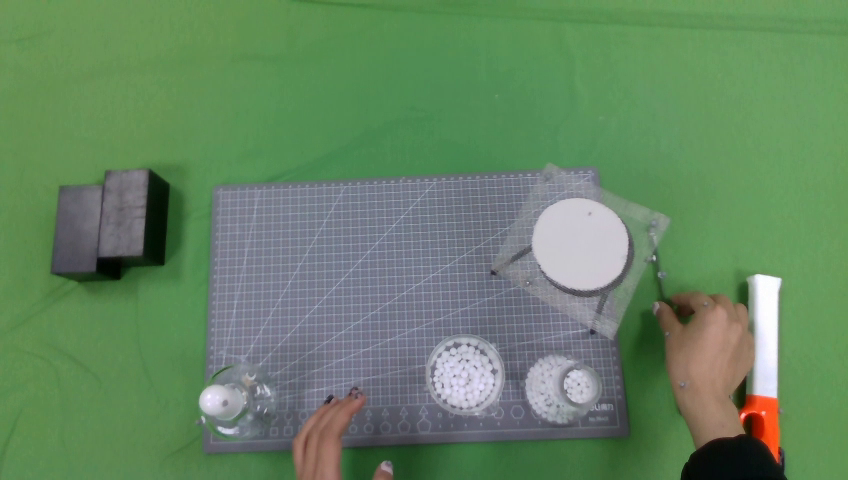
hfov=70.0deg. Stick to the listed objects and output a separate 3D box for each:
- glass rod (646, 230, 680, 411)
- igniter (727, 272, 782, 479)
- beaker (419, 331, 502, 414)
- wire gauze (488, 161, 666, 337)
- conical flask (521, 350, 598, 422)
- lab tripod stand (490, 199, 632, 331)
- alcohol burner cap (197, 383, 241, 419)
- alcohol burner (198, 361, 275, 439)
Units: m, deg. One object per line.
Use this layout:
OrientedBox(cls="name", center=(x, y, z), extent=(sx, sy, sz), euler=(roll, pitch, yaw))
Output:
OrientedBox(cls="glass rod", center=(0.259, 0.085, 0.661), extent=(0.008, 0.008, 0.198), euler=(-4, 76, 1))
OrientedBox(cls="igniter", center=(0.344, 0.170, 0.629), extent=(0.057, 0.025, 0.275), euler=(10, 77, -6))
OrientedBox(cls="beaker", center=(0.039, 0.136, 0.606), extent=(0.074, 0.101, 0.083), euler=(-38, 78, -7))
OrientedBox(cls="wire gauze", center=(0.138, 0.004, 0.548), extent=(0.125, 0.011, 0.121), euler=(29, 81, 9))
OrientedBox(cls="conical flask", center=(0.138, 0.141, 0.590), extent=(0.075, 0.122, 0.075), euler=(0, 76, 2))
OrientedBox(cls="lab tripod stand", center=(0.143, 0.022, 0.612), extent=(0.148, 0.132, 0.147), euler=(-1, 78, 3))
OrientedBox(cls="alcohol burner cap", center=(-0.193, 0.148, 0.565), extent=(0.034, 0.048, 0.033), euler=(0, 70, -1))
OrientedBox(cls="alcohol burner", center=(-0.192, 0.159, 0.600), extent=(0.078, 0.119, 0.077), euler=(-1, 78, 3))
